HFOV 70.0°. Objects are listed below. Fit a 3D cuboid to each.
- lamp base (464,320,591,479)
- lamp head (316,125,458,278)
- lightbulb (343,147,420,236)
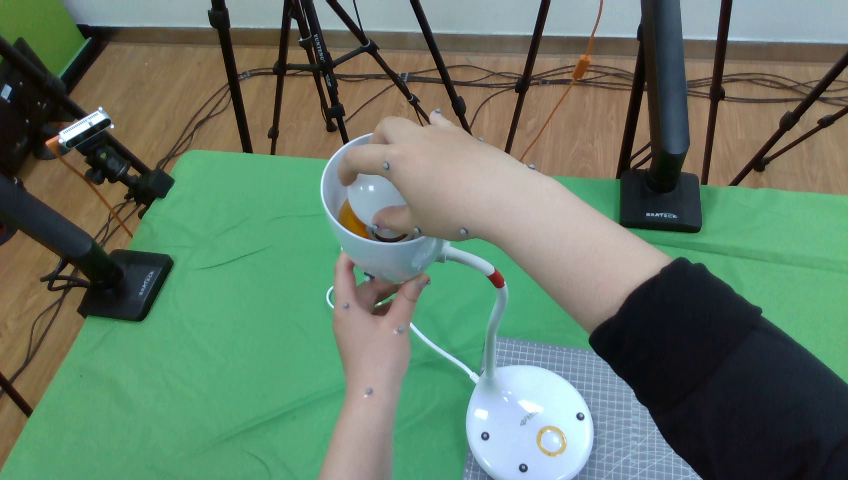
[{"bbox_3d":[0.113,0.175,0.719,0.177,0.182,0.160,29,63,28],"label":"lamp base"},{"bbox_3d":[-0.025,-0.019,0.518,0.112,0.124,0.111,-2,58,4],"label":"lamp head"},{"bbox_3d":[-0.033,-0.031,0.491,0.059,0.108,0.059,0,62,0],"label":"lightbulb"}]
